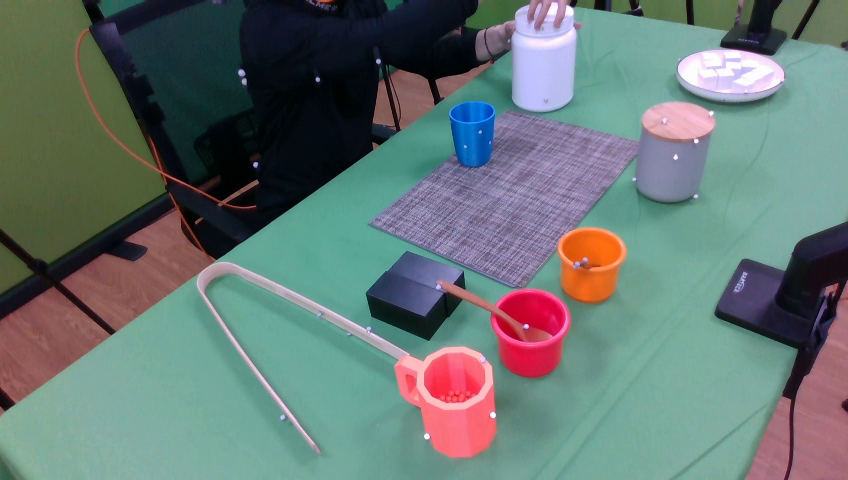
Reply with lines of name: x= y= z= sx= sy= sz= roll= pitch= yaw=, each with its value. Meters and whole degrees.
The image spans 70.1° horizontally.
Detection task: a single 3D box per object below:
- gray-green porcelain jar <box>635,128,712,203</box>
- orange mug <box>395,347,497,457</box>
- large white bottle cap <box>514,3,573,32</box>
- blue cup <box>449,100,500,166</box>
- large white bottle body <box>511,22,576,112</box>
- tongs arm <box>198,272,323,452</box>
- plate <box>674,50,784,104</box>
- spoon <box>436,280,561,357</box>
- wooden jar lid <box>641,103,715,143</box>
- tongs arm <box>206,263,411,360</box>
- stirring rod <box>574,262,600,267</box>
gray-green porcelain jar: x=0.404 y=-0.133 z=0.992 sx=0.106 sy=0.127 sz=0.105 roll=-4 pitch=40 yaw=4
orange mug: x=0.024 y=0.181 z=0.703 sx=0.125 sy=0.101 sz=0.083 roll=20 pitch=48 yaw=23
large white bottle cap: x=0.236 y=-0.440 z=1.197 sx=0.115 sy=0.018 sz=0.114 roll=-4 pitch=40 yaw=4
blue cup: x=0.092 y=-0.194 z=1.123 sx=0.092 sy=0.100 sz=0.092 roll=-3 pitch=40 yaw=3
large white bottle body: x=0.247 y=-0.376 z=1.253 sx=0.130 sy=0.185 sz=0.130 roll=-5 pitch=41 yaw=5
tongs arm: x=-0.236 y=0.153 z=0.829 sx=0.028 sy=0.028 sz=0.384 roll=-36 pitch=47 yaw=-19
plate: x=0.631 y=-0.336 z=1.262 sx=0.207 sy=0.039 sz=0.206 roll=-4 pitch=41 yaw=4
spoon: x=0.096 y=0.095 z=0.757 sx=0.195 sy=0.021 sz=0.041 roll=34 pitch=40 yaw=-20
wooden jar lid: x=0.398 y=-0.180 z=0.952 sx=0.108 sy=0.021 sz=0.108 roll=-4 pitch=43 yaw=4
tongs arm: x=-0.179 y=0.106 z=0.870 sx=0.381 sy=0.026 sz=0.051 roll=23 pitch=53 yaw=32
stirring rod: x=0.222 y=0.033 z=0.816 sx=0.014 sy=0.006 sz=0.177 roll=7 pitch=1 yaw=22
